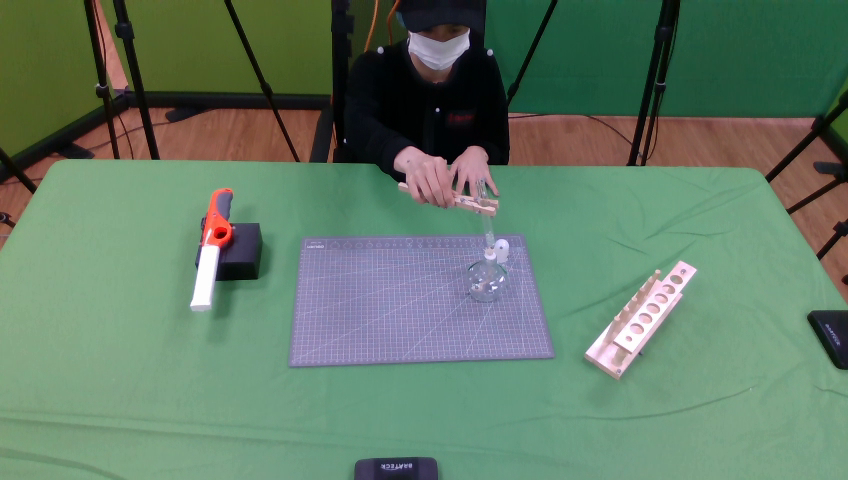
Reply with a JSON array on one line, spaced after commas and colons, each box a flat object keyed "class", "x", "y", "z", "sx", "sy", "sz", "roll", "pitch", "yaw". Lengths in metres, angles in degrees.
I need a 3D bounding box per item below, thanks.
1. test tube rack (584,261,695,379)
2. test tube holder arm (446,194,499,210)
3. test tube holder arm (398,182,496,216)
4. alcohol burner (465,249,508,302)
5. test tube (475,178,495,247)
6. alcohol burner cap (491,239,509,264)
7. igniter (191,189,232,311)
[{"class": "test tube rack", "x": 0.380, "y": 0.127, "z": 1.062, "sx": 0.066, "sy": 0.085, "sz": 0.242, "roll": 34, "pitch": 53, "yaw": 26}, {"class": "test tube holder arm", "x": 0.077, "y": -0.063, "z": 0.979, "sx": 0.087, "sy": 0.015, "sz": 0.010, "roll": 9, "pitch": 51, "yaw": 19}, {"class": "test tube holder arm", "x": 0.035, "y": -0.068, "z": 0.993, "sx": 0.178, "sy": 0.015, "sz": 0.013, "roll": 16, "pitch": 53, "yaw": 24}, {"class": "alcohol burner", "x": 0.114, "y": 0.057, "z": 1.085, "sx": 0.078, "sy": 0.120, "sz": 0.077, "roll": 2, "pitch": 48, "yaw": -2}, {"class": "test tube", "x": 0.100, "y": -0.040, "z": 0.983, "sx": 0.017, "sy": 0.151, "sz": 0.017, "roll": -8, "pitch": 46, "yaw": 8}, {"class": "alcohol burner cap", "x": 0.150, "y": 0.020, "z": 1.174, "sx": 0.034, "sy": 0.048, "sz": 0.033, "roll": 2, "pitch": 46, "yaw": -2}, {"class": "igniter", "x": -0.381, "y": 0.008, "z": 1.092, "sx": 0.057, "sy": 0.025, "sz": 0.274, "roll": -1, "pitch": 50, "yaw": -7}]
